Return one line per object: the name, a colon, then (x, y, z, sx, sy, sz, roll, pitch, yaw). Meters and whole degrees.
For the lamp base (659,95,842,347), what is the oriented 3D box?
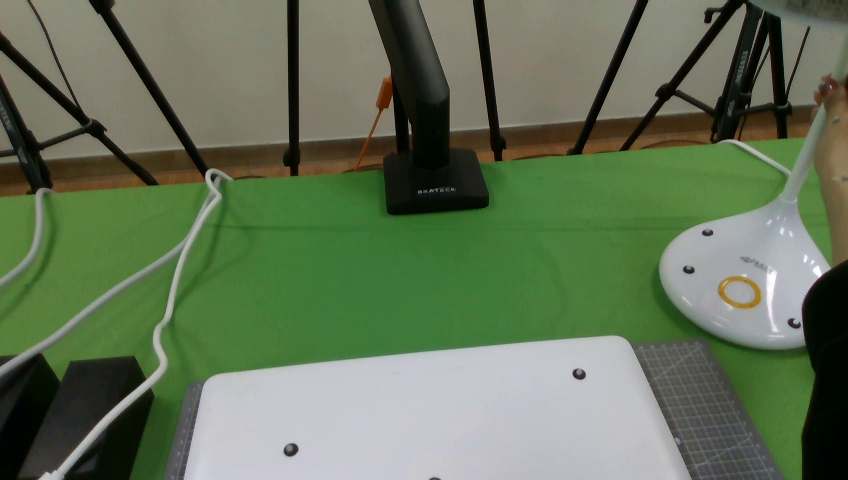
lamp base: (0.311, -0.027, 0.535, 0.159, 0.182, 0.179, 21, 45, 25)

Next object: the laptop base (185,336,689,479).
laptop base: (0.008, 0.176, 0.428, 0.355, 0.023, 0.233, -5, 43, -4)

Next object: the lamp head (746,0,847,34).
lamp head: (0.229, -0.181, 0.305, 0.111, 0.113, 0.123, 28, 88, 31)

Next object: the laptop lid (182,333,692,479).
laptop lid: (0.008, 0.169, 0.418, 0.357, 0.013, 0.239, -4, 42, -2)
